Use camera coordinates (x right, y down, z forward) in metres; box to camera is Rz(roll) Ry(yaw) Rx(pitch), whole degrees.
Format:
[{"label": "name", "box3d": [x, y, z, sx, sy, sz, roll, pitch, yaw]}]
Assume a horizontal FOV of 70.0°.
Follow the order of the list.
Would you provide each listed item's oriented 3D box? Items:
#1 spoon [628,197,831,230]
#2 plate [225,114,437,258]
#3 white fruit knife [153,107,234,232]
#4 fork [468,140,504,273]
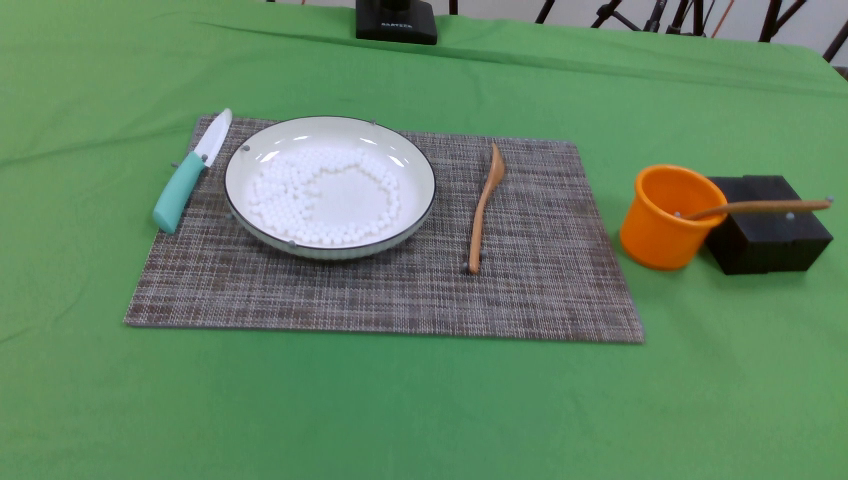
[{"label": "spoon", "box3d": [0.281, -0.027, 0.581, 0.042, 0.193, 0.021, -22, 96, -33]}, {"label": "plate", "box3d": [-0.091, -0.055, 0.616, 0.209, 0.038, 0.207, 5, 45, -5]}, {"label": "white fruit knife", "box3d": [-0.236, -0.085, 0.636, 0.027, 0.016, 0.205, 30, 39, -20]}, {"label": "fork", "box3d": [0.066, -0.042, 0.643, 0.018, 0.028, 0.206, -8, 41, 27]}]
